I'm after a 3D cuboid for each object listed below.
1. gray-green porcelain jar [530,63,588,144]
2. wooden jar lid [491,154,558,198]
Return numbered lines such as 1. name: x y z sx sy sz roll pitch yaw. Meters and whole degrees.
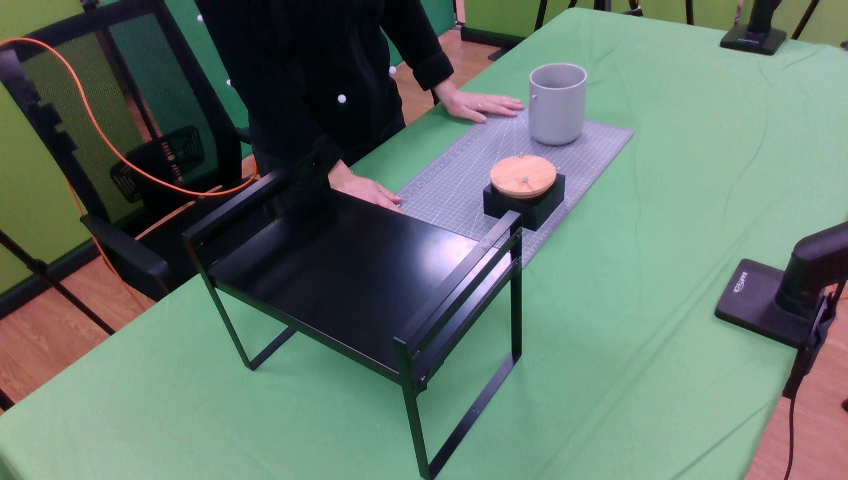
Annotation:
1. gray-green porcelain jar: 0.254 -0.255 1.151 0.106 0.127 0.105 -4 41 4
2. wooden jar lid: 0.164 -0.104 0.994 0.108 0.021 0.108 -4 40 4
